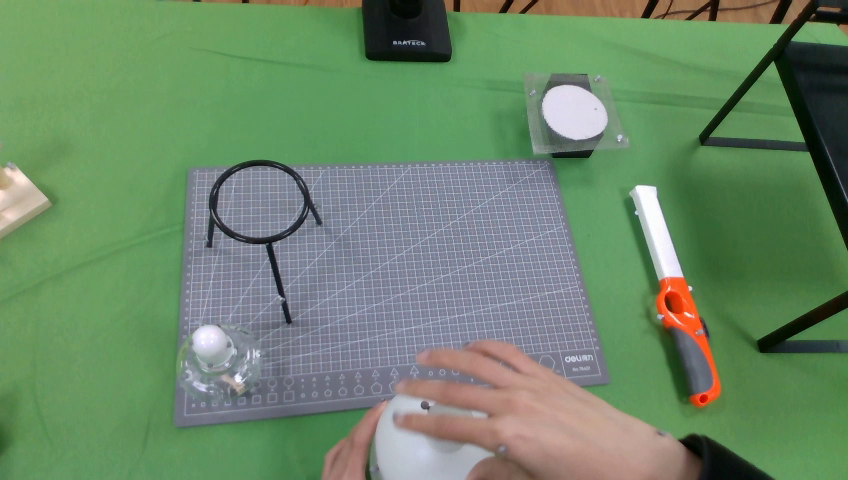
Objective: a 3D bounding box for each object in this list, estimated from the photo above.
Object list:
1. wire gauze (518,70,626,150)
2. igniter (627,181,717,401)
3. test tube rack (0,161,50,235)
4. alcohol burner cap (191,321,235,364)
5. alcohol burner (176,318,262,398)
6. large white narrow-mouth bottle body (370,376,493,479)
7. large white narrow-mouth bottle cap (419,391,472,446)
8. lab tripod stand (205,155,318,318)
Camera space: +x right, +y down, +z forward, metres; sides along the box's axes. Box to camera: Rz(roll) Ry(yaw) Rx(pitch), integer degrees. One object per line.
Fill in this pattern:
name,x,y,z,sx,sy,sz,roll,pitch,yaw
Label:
wire gauze,0.185,-0.167,0.768,0.122,0.011,0.124,-1,64,-9
igniter,0.290,0.051,0.716,0.057,0.025,0.274,2,63,-19
test tube rack,-0.510,-0.007,0.587,0.066,0.086,0.242,41,64,13
alcohol burner cap,-0.186,0.088,0.529,0.034,0.048,0.033,3,68,-7
alcohol burner,-0.192,0.104,0.562,0.078,0.120,0.077,5,61,-8
large white narrow-mouth bottle body,0.006,0.172,0.515,0.102,0.196,0.101,3,62,-6
large white narrow-mouth bottle cap,0.015,0.130,0.440,0.038,0.024,0.037,3,62,-6
lab tripod stand,-0.159,-0.008,0.613,0.149,0.132,0.147,5,63,-9
